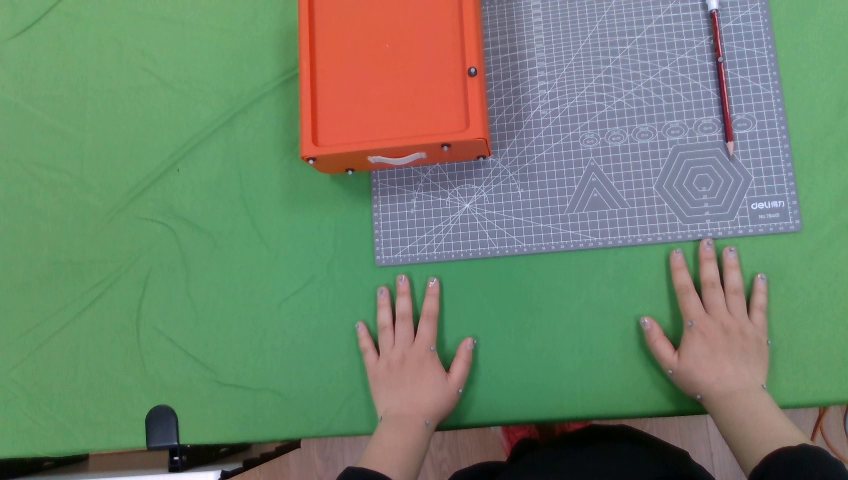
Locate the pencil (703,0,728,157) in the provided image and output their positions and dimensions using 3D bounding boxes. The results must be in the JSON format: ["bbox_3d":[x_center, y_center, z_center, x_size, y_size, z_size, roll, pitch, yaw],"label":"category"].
[{"bbox_3d":[0.313,-0.184,0.648,0.012,0.012,0.193,-4,84,9],"label":"pencil"}]

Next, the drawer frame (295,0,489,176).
[{"bbox_3d":[-0.037,-0.188,0.671,0.201,0.083,0.212,-6,81,10],"label":"drawer frame"}]

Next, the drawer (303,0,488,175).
[{"bbox_3d":[-0.035,-0.186,0.671,0.194,0.073,0.211,-5,81,10],"label":"drawer"}]
